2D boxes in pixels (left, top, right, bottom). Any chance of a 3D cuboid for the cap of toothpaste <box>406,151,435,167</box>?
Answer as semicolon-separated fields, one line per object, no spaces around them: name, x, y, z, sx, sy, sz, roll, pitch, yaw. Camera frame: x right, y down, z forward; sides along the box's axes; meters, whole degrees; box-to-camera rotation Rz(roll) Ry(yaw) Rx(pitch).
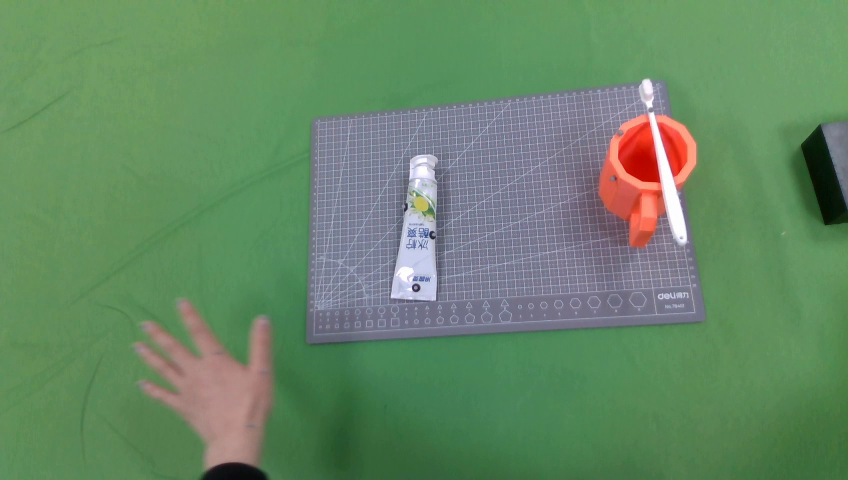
cap of toothpaste;-0.004;-0.096;0.738;0.037;0.037;0.011;-10;69;6

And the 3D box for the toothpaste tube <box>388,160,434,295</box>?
toothpaste tube;-0.011;-0.017;0.722;0.055;0.035;0.164;0;77;14

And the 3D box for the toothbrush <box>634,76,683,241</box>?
toothbrush;0.238;-0.085;0.612;0.014;0.017;0.180;-7;73;4

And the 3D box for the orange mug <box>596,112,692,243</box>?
orange mug;0.236;-0.064;0.661;0.083;0.101;0.125;4;69;10
